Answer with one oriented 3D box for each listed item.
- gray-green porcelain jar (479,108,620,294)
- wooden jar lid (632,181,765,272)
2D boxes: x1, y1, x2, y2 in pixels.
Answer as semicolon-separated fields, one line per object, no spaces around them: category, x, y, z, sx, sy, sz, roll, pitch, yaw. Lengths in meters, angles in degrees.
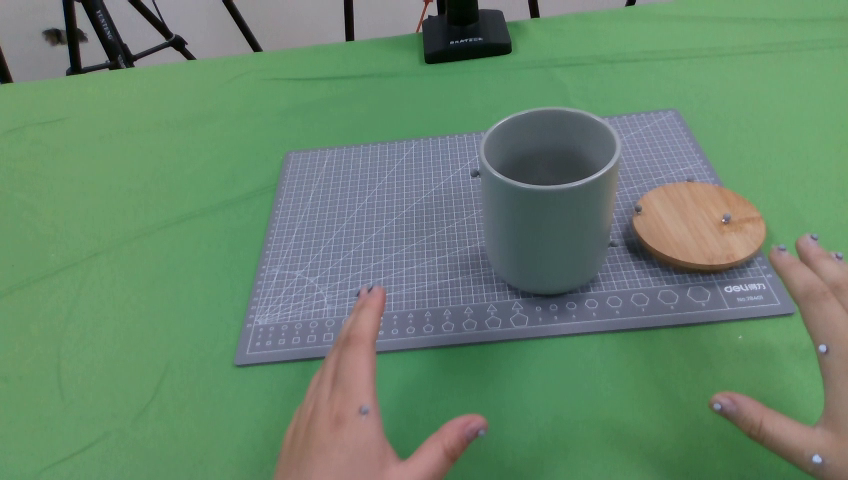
gray-green porcelain jar;0.100;-0.026;0.496;0.106;0.128;0.105;-5;44;5
wooden jar lid;0.240;-0.011;0.536;0.108;0.021;0.107;-5;43;5
